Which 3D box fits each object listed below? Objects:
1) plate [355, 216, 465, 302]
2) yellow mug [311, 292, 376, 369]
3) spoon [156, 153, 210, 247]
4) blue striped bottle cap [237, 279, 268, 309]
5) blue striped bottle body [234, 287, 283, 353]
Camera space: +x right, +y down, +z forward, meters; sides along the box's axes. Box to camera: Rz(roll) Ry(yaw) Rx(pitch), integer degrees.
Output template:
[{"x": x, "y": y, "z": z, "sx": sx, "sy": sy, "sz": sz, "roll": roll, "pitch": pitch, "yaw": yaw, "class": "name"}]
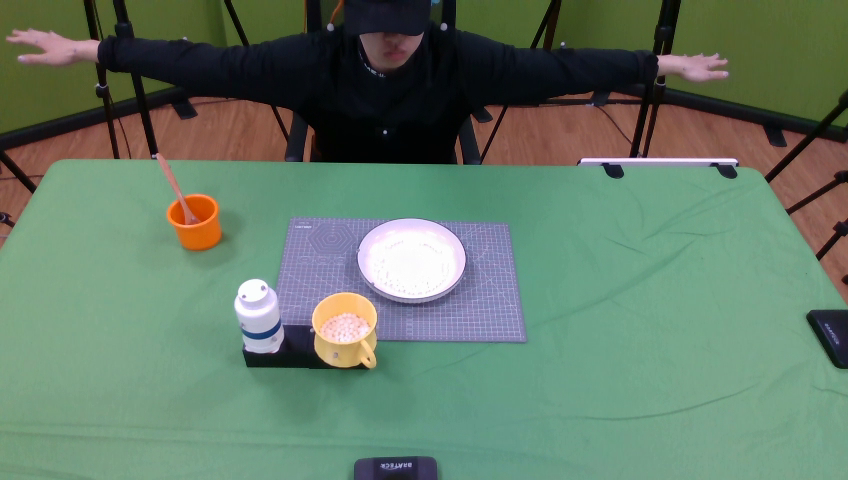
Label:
[{"x": -0.027, "y": 0.039, "z": 1.144, "sx": 0.208, "sy": 0.039, "sz": 0.206, "roll": 2, "pitch": 46, "yaw": -2, "class": "plate"}, {"x": -0.115, "y": 0.150, "z": 0.945, "sx": 0.100, "sy": 0.064, "sz": 0.130, "roll": -30, "pitch": 57, "yaw": -28, "class": "yellow mug"}, {"x": -0.458, "y": -0.076, "z": 1.147, "sx": 0.041, "sy": 0.194, "sz": 0.021, "roll": -26, "pitch": 9, "yaw": -24, "class": "spoon"}, {"x": -0.252, "y": 0.078, "z": 0.892, "sx": 0.044, "sy": 0.021, "sz": 0.044, "roll": 4, "pitch": 47, "yaw": -4, "class": "blue striped bottle cap"}, {"x": -0.254, "y": 0.114, "z": 0.929, "sx": 0.063, "sy": 0.121, "sz": 0.062, "roll": 2, "pitch": 46, "yaw": -2, "class": "blue striped bottle body"}]
